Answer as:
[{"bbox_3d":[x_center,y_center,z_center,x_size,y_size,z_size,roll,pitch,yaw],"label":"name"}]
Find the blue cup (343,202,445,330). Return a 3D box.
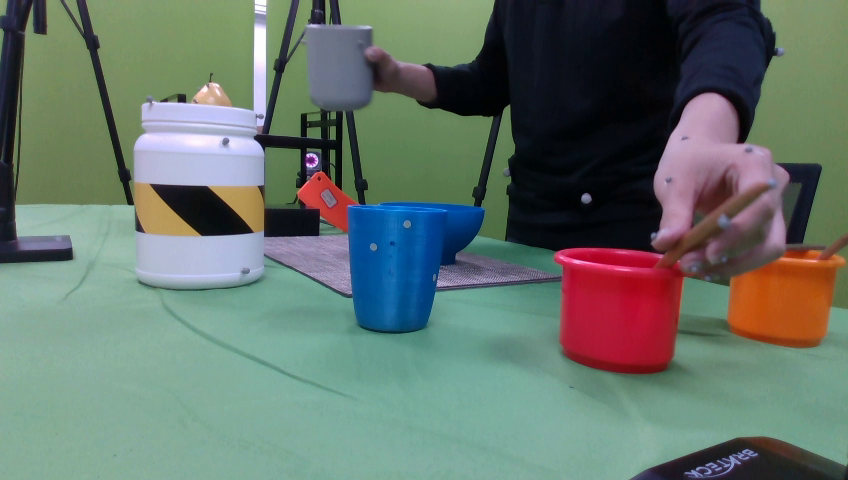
[{"bbox_3d":[-0.027,0.021,0.510,0.093,0.100,0.092,3,5,0],"label":"blue cup"}]

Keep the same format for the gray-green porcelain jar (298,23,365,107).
[{"bbox_3d":[-0.150,-0.286,0.987,0.106,0.126,0.105,1,20,0],"label":"gray-green porcelain jar"}]

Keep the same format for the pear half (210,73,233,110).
[{"bbox_3d":[-0.402,-0.262,1.162,0.076,0.109,0.056,6,7,2],"label":"pear half"}]

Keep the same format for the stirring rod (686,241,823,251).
[{"bbox_3d":[0.290,0.005,0.525,0.177,0.006,0.014,-1,6,-26],"label":"stirring rod"}]

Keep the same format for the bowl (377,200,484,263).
[{"bbox_3d":[0.008,-0.012,0.842,0.151,0.077,0.151,2,7,0],"label":"bowl"}]

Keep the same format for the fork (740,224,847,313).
[{"bbox_3d":[0.323,0.013,0.485,0.028,0.018,0.207,9,-38,-5],"label":"fork"}]

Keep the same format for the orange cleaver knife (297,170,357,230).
[{"bbox_3d":[-0.149,-0.058,1.170,0.212,0.077,0.012,33,-14,-32],"label":"orange cleaver knife"}]

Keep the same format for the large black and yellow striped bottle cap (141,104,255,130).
[{"bbox_3d":[-0.241,-0.131,0.650,0.115,0.019,0.115,3,8,0],"label":"large black and yellow striped bottle cap"}]

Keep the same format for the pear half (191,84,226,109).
[{"bbox_3d":[-0.406,-0.248,1.128,0.070,0.088,0.031,5,7,2],"label":"pear half"}]

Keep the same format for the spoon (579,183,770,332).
[{"bbox_3d":[0.161,0.020,0.411,0.042,0.021,0.193,-6,-33,-21],"label":"spoon"}]

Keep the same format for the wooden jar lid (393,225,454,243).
[{"bbox_3d":[-0.002,-0.011,1.058,0.108,0.020,0.108,8,5,0],"label":"wooden jar lid"}]

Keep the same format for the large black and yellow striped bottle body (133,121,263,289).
[{"bbox_3d":[-0.243,-0.048,0.659,0.131,0.184,0.130,2,7,0],"label":"large black and yellow striped bottle body"}]
